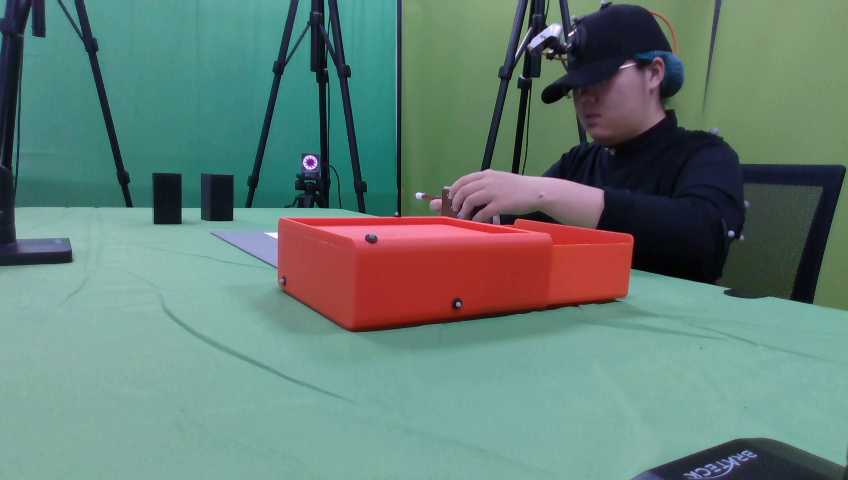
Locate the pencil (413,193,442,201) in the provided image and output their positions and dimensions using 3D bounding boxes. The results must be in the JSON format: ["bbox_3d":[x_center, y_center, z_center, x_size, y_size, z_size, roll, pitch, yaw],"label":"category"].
[{"bbox_3d":[0.032,-0.070,1.056,0.012,0.012,0.193,-1,9,-31],"label":"pencil"}]

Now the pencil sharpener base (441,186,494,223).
[{"bbox_3d":[0.070,-0.032,0.990,0.062,0.107,0.076,-1,8,-30],"label":"pencil sharpener base"}]

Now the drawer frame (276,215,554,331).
[{"bbox_3d":[-0.015,0.022,0.610,0.215,0.082,0.200,-2,9,-32],"label":"drawer frame"}]

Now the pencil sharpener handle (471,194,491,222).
[{"bbox_3d":[0.095,-0.038,0.944,0.036,0.067,0.030,7,4,-31],"label":"pencil sharpener handle"}]

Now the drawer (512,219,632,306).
[{"bbox_3d":[0.085,0.021,0.674,0.213,0.073,0.193,-2,9,-32],"label":"drawer"}]
